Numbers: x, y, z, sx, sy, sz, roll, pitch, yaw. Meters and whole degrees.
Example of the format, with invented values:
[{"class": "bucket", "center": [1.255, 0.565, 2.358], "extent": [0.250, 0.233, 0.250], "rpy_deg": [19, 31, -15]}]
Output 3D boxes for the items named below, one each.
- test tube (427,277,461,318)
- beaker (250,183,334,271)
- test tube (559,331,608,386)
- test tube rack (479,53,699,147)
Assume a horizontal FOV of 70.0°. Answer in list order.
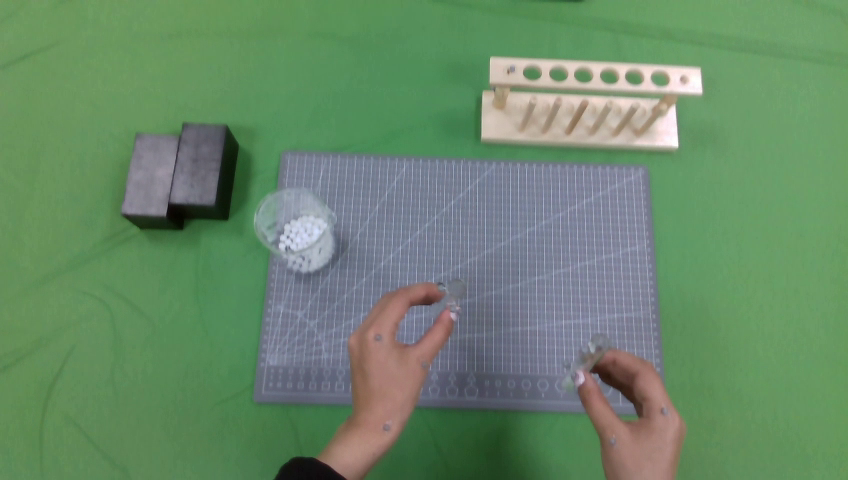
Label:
[{"class": "test tube", "center": [0.017, 0.056, 0.562], "extent": [0.017, 0.151, 0.017], "rpy_deg": [1, 75, -5]}, {"class": "beaker", "center": [-0.135, -0.010, 0.658], "extent": [0.084, 0.101, 0.073], "rpy_deg": [-5, 74, -4]}, {"class": "test tube", "center": [0.138, 0.108, 0.535], "extent": [0.017, 0.151, 0.017], "rpy_deg": [-1, 65, 2]}, {"class": "test tube rack", "center": [0.191, -0.165, 0.724], "extent": [0.242, 0.085, 0.066], "rpy_deg": [3, 74, -1]}]
